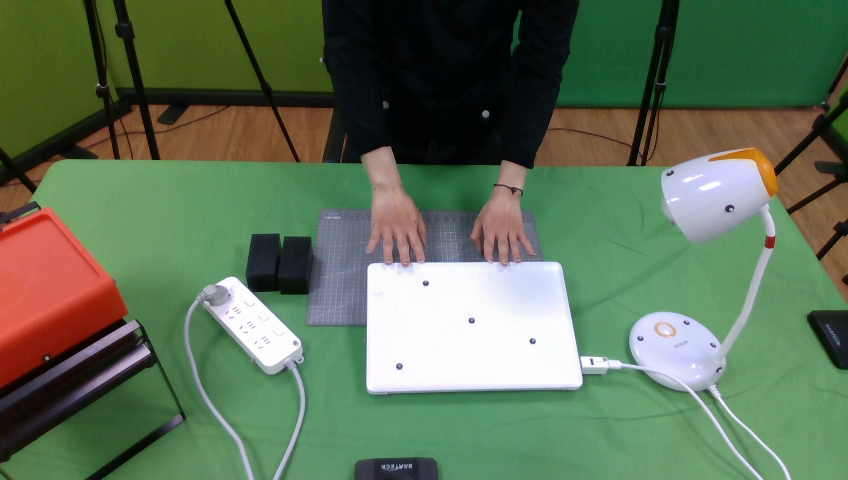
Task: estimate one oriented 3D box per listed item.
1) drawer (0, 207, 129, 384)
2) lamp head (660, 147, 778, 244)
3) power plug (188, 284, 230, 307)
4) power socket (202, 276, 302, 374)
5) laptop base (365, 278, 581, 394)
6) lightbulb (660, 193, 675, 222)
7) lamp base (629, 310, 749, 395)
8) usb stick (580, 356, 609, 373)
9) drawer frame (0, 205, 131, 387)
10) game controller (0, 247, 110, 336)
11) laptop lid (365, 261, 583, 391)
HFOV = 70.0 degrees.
[{"bbox_3d":[-0.539,0.074,0.798,0.193,0.073,0.211,37,55,27],"label":"drawer"},{"bbox_3d":[0.389,-0.063,0.785,0.123,0.113,0.112,-21,33,37],"label":"lamp head"},{"bbox_3d":[-0.368,0.100,1.036,0.072,0.053,0.035,-26,53,-24],"label":"power plug"},{"bbox_3d":[-0.296,0.142,1.034,0.072,0.033,0.225,-34,58,-31],"label":"power socket"},{"bbox_3d":[0.076,0.162,1.053,0.355,0.023,0.234,0,44,-4],"label":"laptop base"},{"bbox_3d":[0.368,-0.060,0.808,0.060,0.107,0.059,20,58,-35],"label":"lightbulb"},{"bbox_3d":[0.447,0.142,0.984,0.161,0.181,0.178,-24,55,-24],"label":"lamp base"},{"bbox_3d":[0.274,0.207,1.007,0.059,0.027,0.021,0,51,0],"label":"usb stick"},{"bbox_3d":[-0.540,0.075,0.795,0.200,0.083,0.213,36,54,26],"label":"drawer frame"},{"bbox_3d":[-0.511,0.063,0.830,0.097,0.052,0.154,-29,57,-33],"label":"game controller"},{"bbox_3d":[0.079,0.138,1.024,0.357,0.013,0.240,1,58,-4],"label":"laptop lid"}]
